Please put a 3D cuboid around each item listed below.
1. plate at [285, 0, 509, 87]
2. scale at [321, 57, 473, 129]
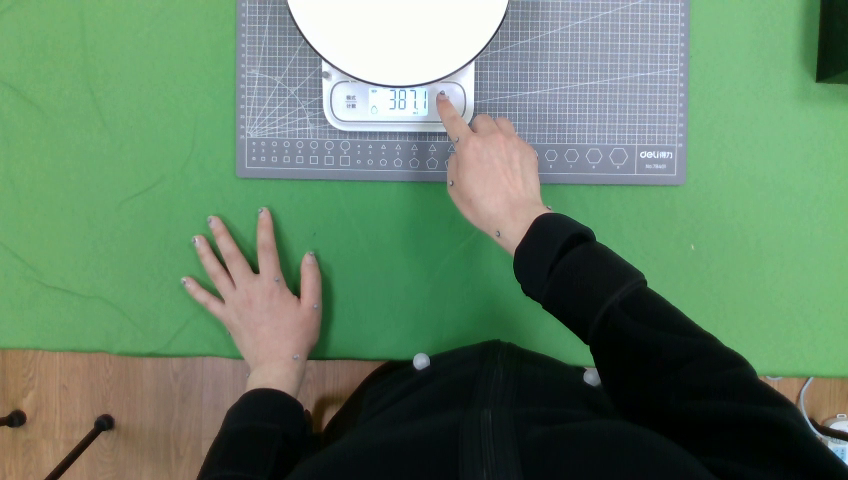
[{"bbox_3d":[-0.024,-0.242,0.555,0.209,0.038,0.209,0,92,-2],"label":"plate"},{"bbox_3d":[-0.026,-0.211,0.589,0.149,0.031,0.201,1,92,-1],"label":"scale"}]
